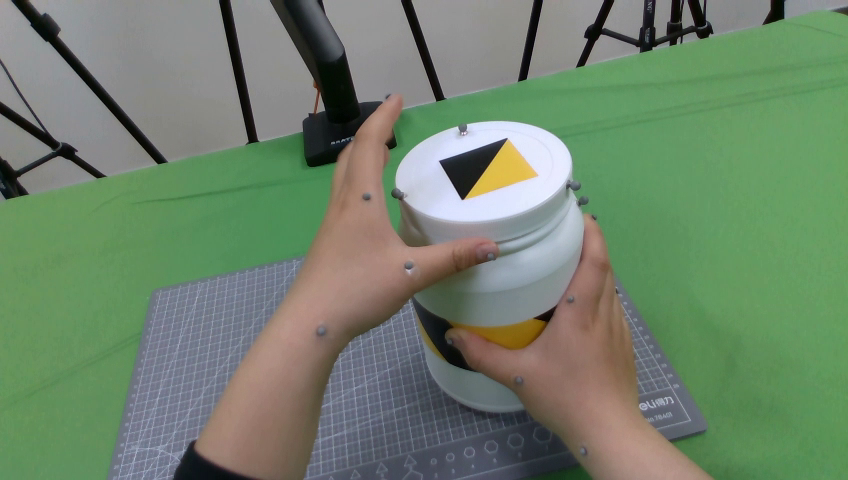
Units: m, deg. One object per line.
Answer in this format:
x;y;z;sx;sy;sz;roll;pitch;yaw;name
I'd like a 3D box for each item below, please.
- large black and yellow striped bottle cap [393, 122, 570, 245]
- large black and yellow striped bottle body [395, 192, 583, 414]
0.037;-0.041;0.395;0.115;0.019;0.114;-6;41;6;large black and yellow striped bottle cap
0.051;0.026;0.450;0.130;0.186;0.129;-7;40;6;large black and yellow striped bottle body
